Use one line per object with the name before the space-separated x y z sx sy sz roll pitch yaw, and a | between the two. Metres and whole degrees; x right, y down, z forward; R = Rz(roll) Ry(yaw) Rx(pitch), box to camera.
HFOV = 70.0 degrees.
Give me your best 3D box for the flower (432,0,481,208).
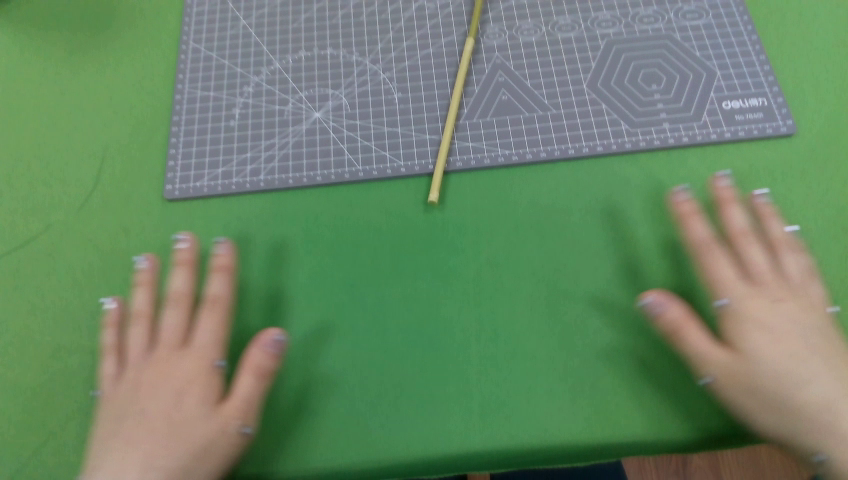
flower | 0.041 -0.191 0.480 0.044 0.038 0.359 21 70 -28
